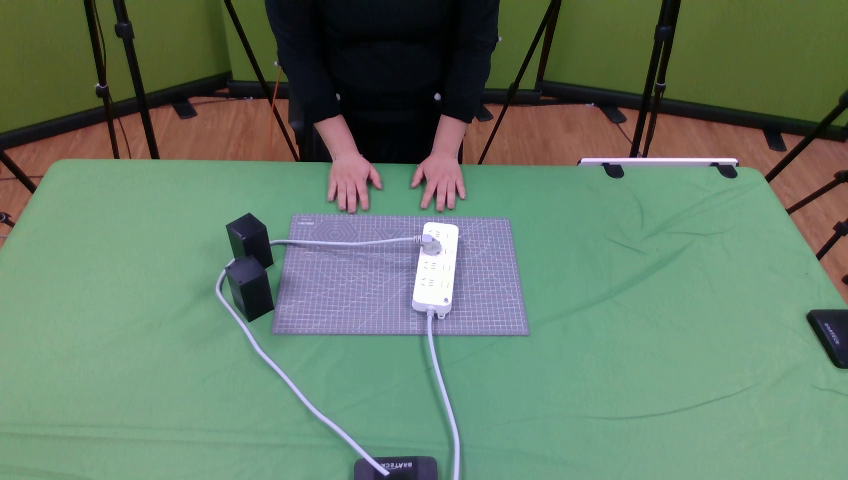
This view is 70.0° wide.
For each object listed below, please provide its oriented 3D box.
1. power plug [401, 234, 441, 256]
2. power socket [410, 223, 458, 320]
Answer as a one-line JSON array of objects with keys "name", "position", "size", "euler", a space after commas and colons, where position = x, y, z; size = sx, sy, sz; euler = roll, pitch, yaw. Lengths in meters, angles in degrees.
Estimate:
[{"name": "power plug", "position": [-0.003, 0.010, 1.150], "size": [0.072, 0.053, 0.035], "euler": [13, 46, 11]}, {"name": "power socket", "position": [0.022, 0.050, 1.139], "size": [0.072, 0.033, 0.225], "euler": [6, 46, 3]}]
